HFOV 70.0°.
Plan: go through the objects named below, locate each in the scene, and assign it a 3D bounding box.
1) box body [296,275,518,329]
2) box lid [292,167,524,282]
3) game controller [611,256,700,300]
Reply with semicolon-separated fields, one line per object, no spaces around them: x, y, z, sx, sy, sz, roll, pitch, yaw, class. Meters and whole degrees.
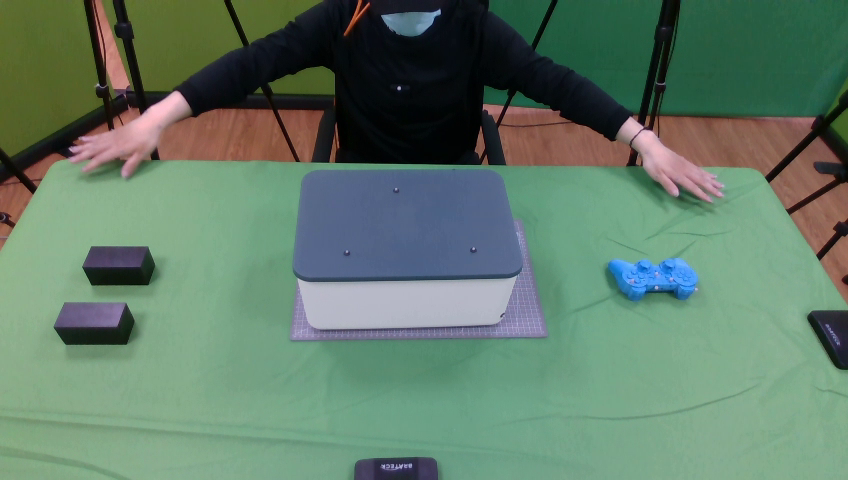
-0.032;0.016;1.075;0.364;0.161;0.252;-1;47;-5;box body
-0.027;-0.035;1.021;0.372;0.015;0.261;-1;47;-5;box lid
0.441;0.063;1.144;0.155;0.052;0.096;-1;50;-4;game controller
